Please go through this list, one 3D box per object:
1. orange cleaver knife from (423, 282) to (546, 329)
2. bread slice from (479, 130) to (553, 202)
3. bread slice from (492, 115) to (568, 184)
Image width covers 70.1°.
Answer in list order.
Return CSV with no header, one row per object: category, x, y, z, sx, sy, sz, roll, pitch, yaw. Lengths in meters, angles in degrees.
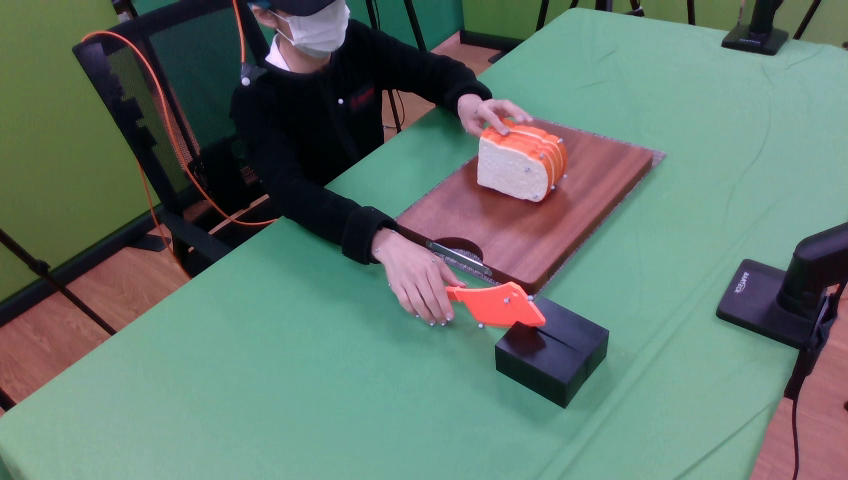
orange cleaver knife,0.075,0.087,0.814,0.012,0.077,0.210,-41,22,-31
bread slice,0.147,-0.114,0.978,0.130,0.105,0.019,24,52,24
bread slice,0.173,-0.142,1.010,0.133,0.107,0.018,23,54,20
